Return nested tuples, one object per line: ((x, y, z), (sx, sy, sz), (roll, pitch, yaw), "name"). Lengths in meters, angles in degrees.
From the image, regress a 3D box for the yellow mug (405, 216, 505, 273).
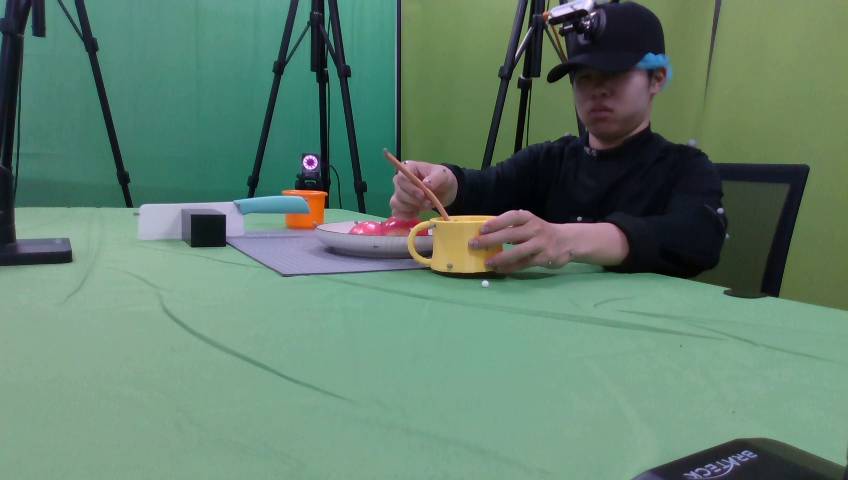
((0.039, 0.005, 0.794), (0.131, 0.064, 0.100), (-2, 6, 8), "yellow mug")

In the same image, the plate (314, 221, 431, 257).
((-0.067, -0.002, 0.947), (0.209, 0.038, 0.209), (3, 7, 0), "plate")

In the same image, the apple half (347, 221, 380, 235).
((-0.089, -0.015, 0.985), (0.081, 0.033, 0.081), (5, 5, 0), "apple half")

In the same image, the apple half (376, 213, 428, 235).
((-0.034, -0.014, 0.924), (0.080, 0.053, 0.075), (5, 10, 16), "apple half")

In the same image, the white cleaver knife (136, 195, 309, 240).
((-0.337, -0.039, 1.037), (0.288, 0.066, 0.021), (-6, 15, -29), "white cleaver knife")

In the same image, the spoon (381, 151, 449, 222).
((0.010, -0.050, 0.813), (0.021, 0.193, 0.041), (-40, -3, 2), "spoon")
